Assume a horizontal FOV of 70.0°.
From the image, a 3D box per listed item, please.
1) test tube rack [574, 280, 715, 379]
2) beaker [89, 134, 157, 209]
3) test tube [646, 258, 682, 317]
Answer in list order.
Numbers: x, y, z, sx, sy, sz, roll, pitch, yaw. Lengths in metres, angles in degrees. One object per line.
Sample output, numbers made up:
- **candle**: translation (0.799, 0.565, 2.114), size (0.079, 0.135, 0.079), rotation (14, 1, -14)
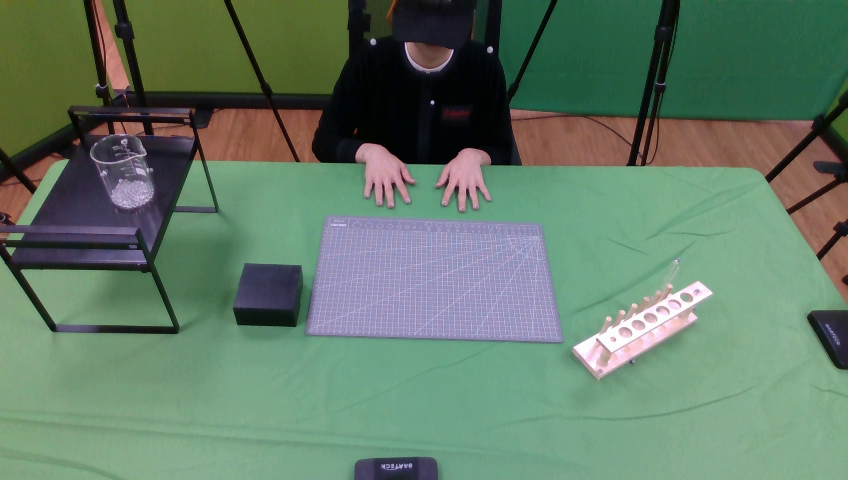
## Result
- **test tube rack**: translation (0.378, 0.140, 1.038), size (0.242, 0.085, 0.066), rotation (-22, 51, -23)
- **beaker**: translation (-0.470, -0.105, 0.961), size (0.084, 0.101, 0.073), rotation (4, 46, 0)
- **test tube**: translation (0.407, 0.082, 1.033), size (0.017, 0.151, 0.017), rotation (2, 47, -2)
